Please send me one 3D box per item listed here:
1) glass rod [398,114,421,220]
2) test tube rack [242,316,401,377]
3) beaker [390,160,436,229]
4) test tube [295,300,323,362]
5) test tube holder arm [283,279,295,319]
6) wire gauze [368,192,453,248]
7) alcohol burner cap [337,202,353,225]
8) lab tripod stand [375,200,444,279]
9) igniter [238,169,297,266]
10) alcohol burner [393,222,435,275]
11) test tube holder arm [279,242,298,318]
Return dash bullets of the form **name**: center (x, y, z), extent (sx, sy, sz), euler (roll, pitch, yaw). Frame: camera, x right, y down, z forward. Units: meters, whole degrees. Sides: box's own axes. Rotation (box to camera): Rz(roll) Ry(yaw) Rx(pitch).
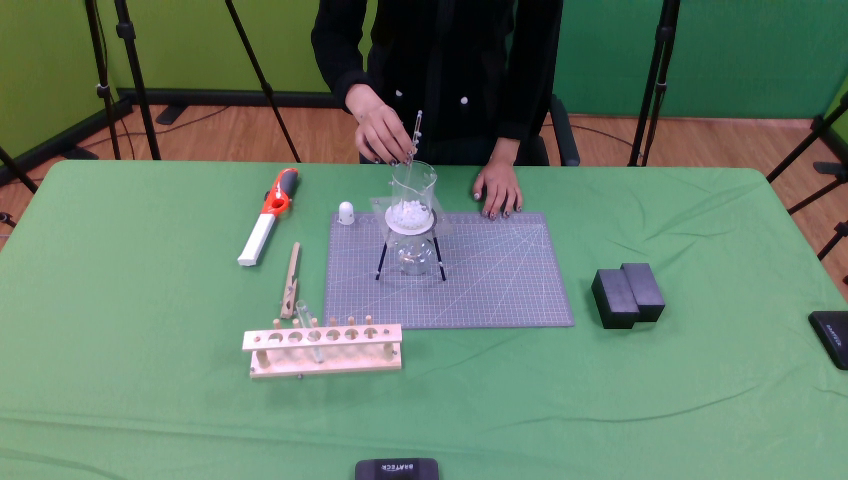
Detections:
- **glass rod**: center (-0.024, -0.113, 0.982), extent (0.008, 0.200, 0.008), euler (8, 36, -6)
- **test tube rack**: center (-0.160, 0.166, 0.983), extent (0.242, 0.085, 0.066), euler (-2, 46, -6)
- **beaker**: center (-0.020, -0.073, 1.029), extent (0.074, 0.101, 0.083), euler (-10, 48, -16)
- **test tube**: center (-0.176, 0.143, 0.935), extent (0.017, 0.151, 0.017), euler (-2, 46, 2)
- **test tube holder arm**: center (-0.241, 0.103, 1.085), extent (0.010, 0.015, 0.087), euler (26, 38, -27)
- **wire gauze**: center (-0.025, -0.041, 1.065), extent (0.122, 0.011, 0.124), euler (-10, 46, -18)
- **alcohol burner cap**: center (-0.161, -0.056, 1.223), extent (0.034, 0.048, 0.033), euler (2, 46, -2)
- **lab tripod stand**: center (-0.023, 0.004, 1.114), extent (0.148, 0.132, 0.147), euler (4, 45, -3)
- **igniter**: center (-0.313, -0.055, 1.224), extent (0.057, 0.025, 0.275), euler (1, 45, 10)
- **alcohol burner**: center (-0.018, 0.009, 1.123), extent (0.078, 0.119, 0.077), euler (3, 47, -3)
- **test tube holder arm**: center (-0.248, 0.069, 1.114), extent (0.013, 0.015, 0.177), euler (26, 38, -27)
